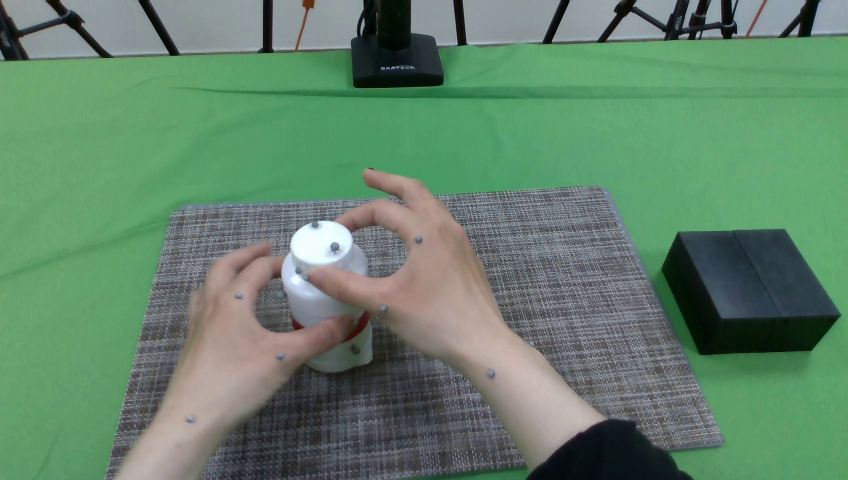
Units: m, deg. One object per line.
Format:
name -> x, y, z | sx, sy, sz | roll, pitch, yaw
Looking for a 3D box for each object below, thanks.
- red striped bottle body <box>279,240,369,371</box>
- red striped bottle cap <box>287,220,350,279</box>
red striped bottle body -> -0.075, 0.042, 0.463 | 0.063, 0.121, 0.062 | 2, 45, -1
red striped bottle cap -> -0.074, 0.006, 0.425 | 0.044, 0.018, 0.044 | 5, 42, -4
